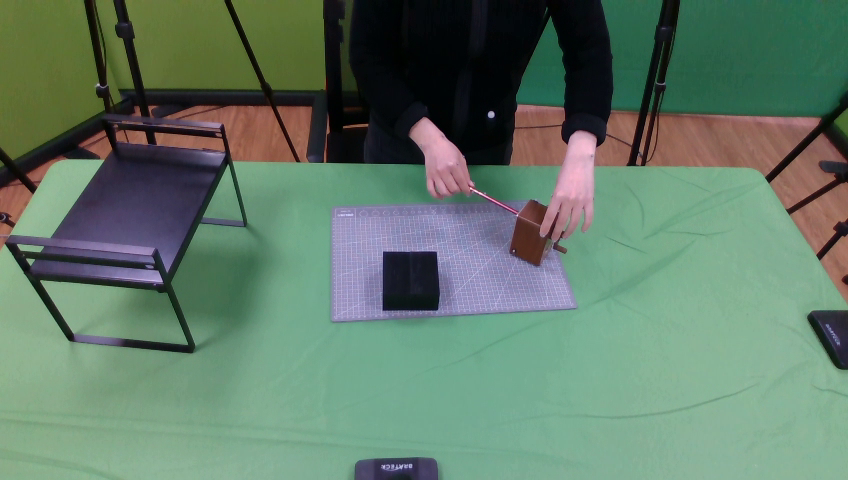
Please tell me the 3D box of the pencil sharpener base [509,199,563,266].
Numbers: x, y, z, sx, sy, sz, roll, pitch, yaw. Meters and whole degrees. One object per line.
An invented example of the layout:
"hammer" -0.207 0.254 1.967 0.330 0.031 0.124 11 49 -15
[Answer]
"pencil sharpener base" 0.216 -0.012 1.160 0.076 0.107 0.061 27 50 21

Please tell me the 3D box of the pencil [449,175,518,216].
"pencil" 0.123 -0.081 1.169 0.193 0.012 0.012 33 53 28

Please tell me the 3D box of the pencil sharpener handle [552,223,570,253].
"pencil sharpener handle" 0.261 -0.002 1.135 0.030 0.068 0.036 27 64 21
